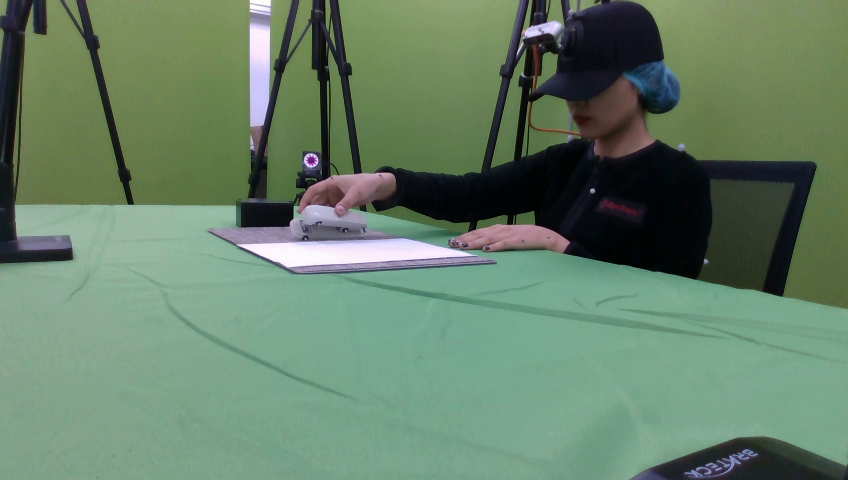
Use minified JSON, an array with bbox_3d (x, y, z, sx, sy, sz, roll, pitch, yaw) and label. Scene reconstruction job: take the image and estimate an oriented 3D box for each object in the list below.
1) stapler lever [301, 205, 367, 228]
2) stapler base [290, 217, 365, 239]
[{"bbox_3d":[-0.147,-0.038,1.005,0.119,0.026,0.040,-1,-28,-33],"label":"stapler lever"},{"bbox_3d":[-0.159,-0.025,1.022,0.131,0.041,0.024,-1,-29,-33],"label":"stapler base"}]
